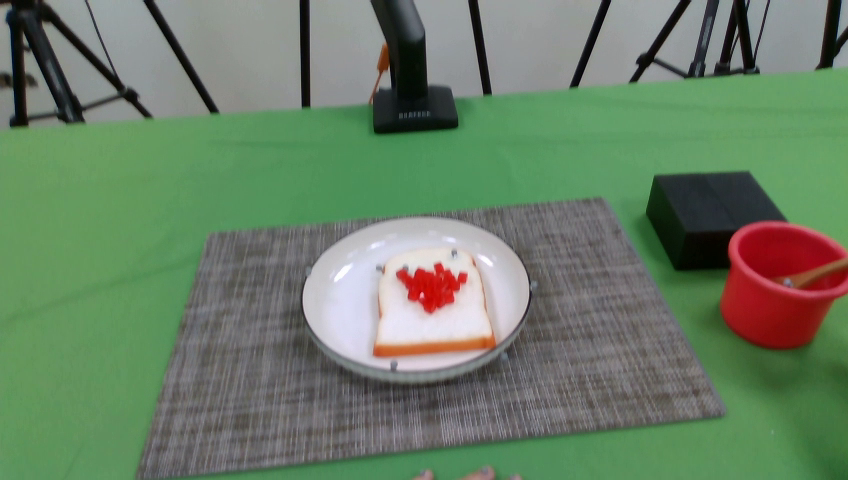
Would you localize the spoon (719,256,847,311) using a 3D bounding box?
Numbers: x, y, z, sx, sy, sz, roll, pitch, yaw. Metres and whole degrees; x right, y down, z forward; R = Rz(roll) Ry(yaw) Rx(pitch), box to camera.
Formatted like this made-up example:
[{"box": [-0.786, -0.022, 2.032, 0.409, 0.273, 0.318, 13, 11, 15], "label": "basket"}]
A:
[{"box": [0.339, 0.023, 0.494, 0.022, 0.193, 0.041, 47, 45, -12], "label": "spoon"}]

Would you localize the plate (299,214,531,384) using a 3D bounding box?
[{"box": [-0.009, 0.052, 0.558, 0.209, 0.038, 0.207, -2, 40, 2], "label": "plate"}]

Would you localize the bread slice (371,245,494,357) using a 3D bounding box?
[{"box": [0.004, 0.052, 0.560, 0.105, 0.019, 0.130, -3, 40, -2], "label": "bread slice"}]
